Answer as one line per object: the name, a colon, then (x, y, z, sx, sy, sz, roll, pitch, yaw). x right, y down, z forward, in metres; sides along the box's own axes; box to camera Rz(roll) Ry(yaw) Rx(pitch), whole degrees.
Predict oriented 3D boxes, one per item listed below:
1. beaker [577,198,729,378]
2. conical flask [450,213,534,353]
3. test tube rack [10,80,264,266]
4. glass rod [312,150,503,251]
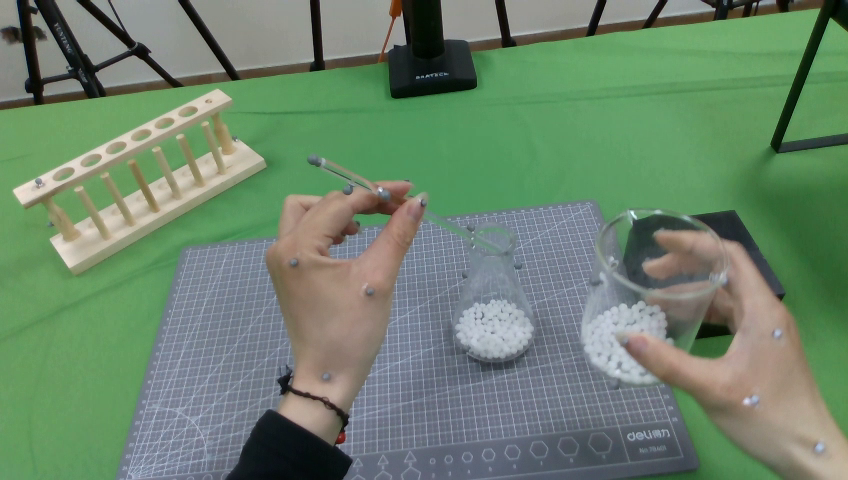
beaker: (0.138, 0.033, 0.389, 0.074, 0.101, 0.083, -9, 45, -6)
conical flask: (0.055, 0.033, 0.503, 0.075, 0.123, 0.074, -4, 47, 4)
test tube rack: (-0.311, -0.081, 0.683, 0.242, 0.086, 0.066, -36, 53, -24)
glass rod: (0.001, -0.020, 0.405, 0.008, 0.201, 0.008, -14, 66, 35)
